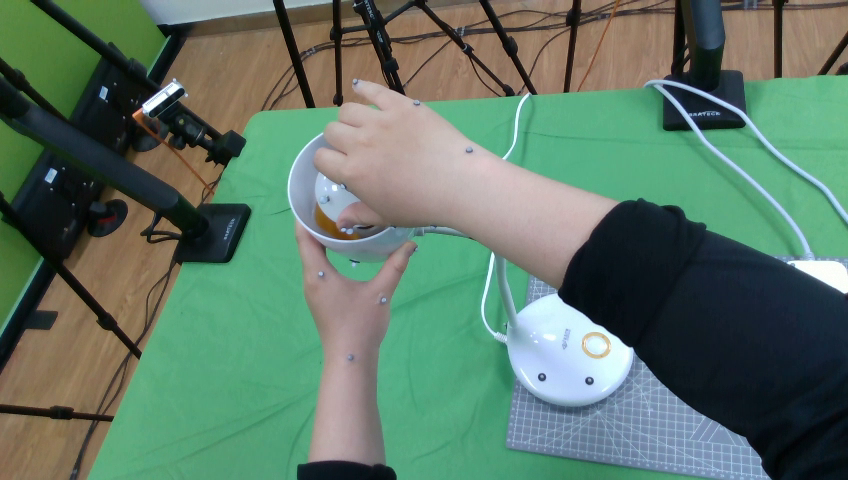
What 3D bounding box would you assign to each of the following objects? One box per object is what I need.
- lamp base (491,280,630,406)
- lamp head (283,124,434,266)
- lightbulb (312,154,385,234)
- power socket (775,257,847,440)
[{"bbox_3d":[0.154,0.101,0.742,0.178,0.182,0.159,-5,56,19],"label":"lamp base"},{"bbox_3d":[-0.050,-0.026,0.542,0.112,0.124,0.111,-5,66,11],"label":"lamp head"},{"bbox_3d":[-0.058,-0.032,0.516,0.059,0.108,0.059,-3,70,9],"label":"lightbulb"},{"bbox_3d":[0.467,0.118,0.716,0.072,0.033,0.225,1,58,18],"label":"power socket"}]
